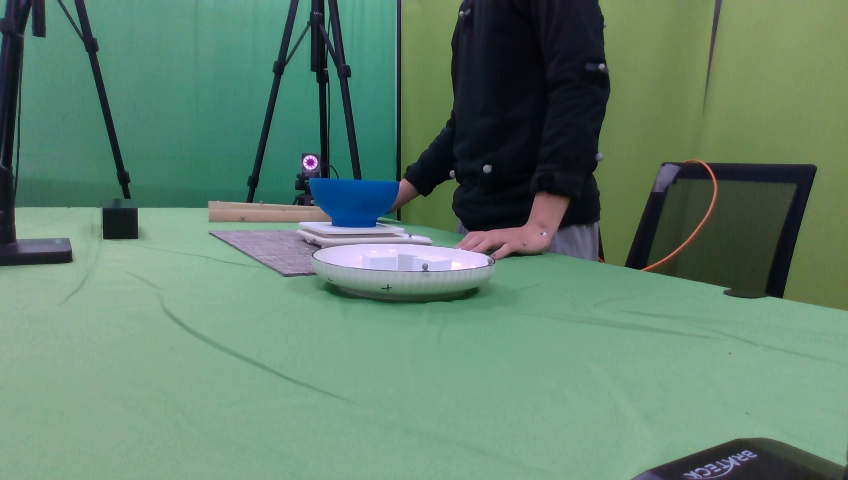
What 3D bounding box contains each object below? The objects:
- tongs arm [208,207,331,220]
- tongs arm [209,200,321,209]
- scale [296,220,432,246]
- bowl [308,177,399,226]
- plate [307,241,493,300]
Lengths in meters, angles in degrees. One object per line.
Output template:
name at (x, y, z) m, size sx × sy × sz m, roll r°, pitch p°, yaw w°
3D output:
tongs arm at (-0.280, -0.058, 1.355) m, size 0.390 × 0.028 × 0.028 m, roll -1°, pitch 4°, yaw -28°
tongs arm at (-0.306, -0.070, 1.430) m, size 0.386 × 0.026 × 0.050 m, roll 2°, pitch 7°, yaw -16°
scale at (-0.101, -0.012, 1.017) m, size 0.202 × 0.031 × 0.148 m, roll -1°, pitch 8°, yaw -30°
bowl at (-0.117, -0.064, 1.001) m, size 0.151 × 0.077 × 0.151 m, roll 2°, pitch 6°, yaw 0°
plate at (-0.026, 0.034, 0.684) m, size 0.208 × 0.039 × 0.207 m, roll 2°, pitch 7°, yaw 0°
